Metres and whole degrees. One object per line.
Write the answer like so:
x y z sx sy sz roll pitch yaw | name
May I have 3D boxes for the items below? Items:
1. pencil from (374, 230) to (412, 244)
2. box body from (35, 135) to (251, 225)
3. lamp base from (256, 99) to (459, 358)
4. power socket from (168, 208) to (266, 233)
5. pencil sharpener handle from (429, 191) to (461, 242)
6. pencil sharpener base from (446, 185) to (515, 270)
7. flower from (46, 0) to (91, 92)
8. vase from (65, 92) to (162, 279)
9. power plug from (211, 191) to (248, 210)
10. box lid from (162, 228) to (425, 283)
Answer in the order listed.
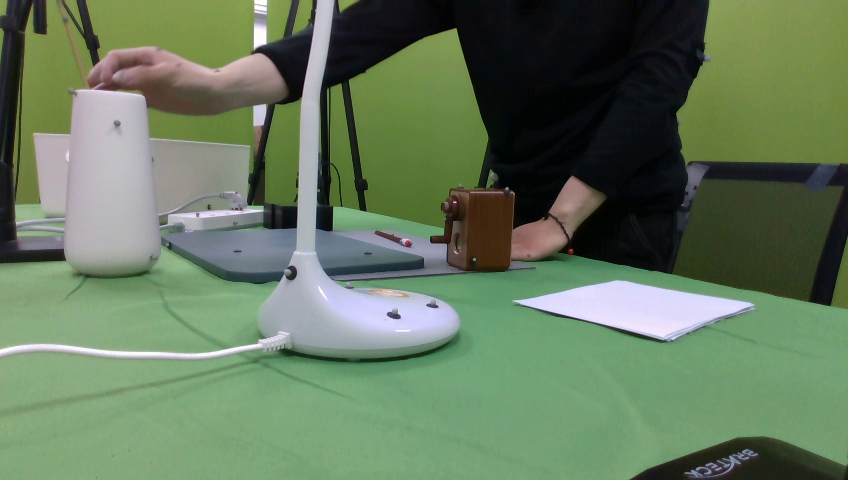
-0.059 -0.007 1.061 0.012 0.012 0.193 -1 6 -22 | pencil
-0.559 -0.127 1.257 0.253 0.160 0.365 4 8 15 | box body
-0.055 -0.013 0.463 0.160 0.180 0.180 6 11 27 | lamp base
-0.379 -0.038 1.129 0.072 0.032 0.227 4 8 18 | power socket
0.025 -0.030 0.780 0.031 0.067 0.036 -2 15 -25 | pencil sharpener handle
0.071 -0.018 0.802 0.077 0.107 0.061 -2 9 -25 | pencil sharpener base
-0.362 -0.142 0.665 0.044 0.361 0.038 -11 11 31 | flower
-0.347 -0.060 0.673 0.098 0.200 0.098 1 7 0 | vase
-0.384 -0.071 1.205 0.072 0.052 0.035 1 8 28 | power plug
-0.200 0.014 0.861 0.265 0.015 0.369 -3 9 -35 | box lid
